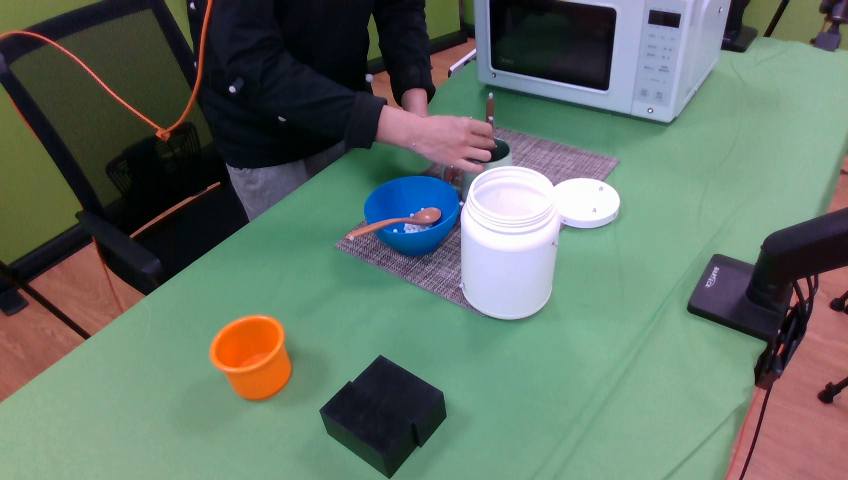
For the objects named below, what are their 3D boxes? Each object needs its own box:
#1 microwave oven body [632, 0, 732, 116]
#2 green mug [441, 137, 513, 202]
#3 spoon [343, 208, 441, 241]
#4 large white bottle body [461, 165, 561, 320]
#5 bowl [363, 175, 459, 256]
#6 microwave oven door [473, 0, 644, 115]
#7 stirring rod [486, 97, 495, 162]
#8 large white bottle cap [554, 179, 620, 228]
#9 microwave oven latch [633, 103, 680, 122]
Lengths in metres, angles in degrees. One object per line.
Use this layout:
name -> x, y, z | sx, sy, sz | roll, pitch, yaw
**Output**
microwave oven body -> 0.377, -0.463, 1.267 | 0.438, 0.261, 0.327 | 21, 48, 30
green mug -> 0.090, -0.108, 1.012 | 0.125, 0.105, 0.092 | 2, 41, 11
spoon -> -0.046, -0.025, 0.911 | 0.041, 0.021, 0.195 | 26, 27, 37
large white bottle body -> 0.115, 0.004, 0.816 | 0.130, 0.185, 0.130 | -2, 43, 2
bowl -> -0.017, -0.028, 0.955 | 0.151, 0.077, 0.150 | -4, 40, 4
microwave oven door -> 0.257, -0.396, 1.199 | 0.353, 0.245, 0.039 | 21, 48, 29
stirring rod -> 0.109, -0.152, 0.989 | 0.014, 0.177, 0.005 | -30, 45, -26
large white bottle cap -> 0.265, -0.062, 1.001 | 0.115, 0.018, 0.114 | -3, 41, 3
microwave oven latch -> 0.443, -0.249, 1.157 | 0.078, 0.029, 0.030 | 20, 48, 29
